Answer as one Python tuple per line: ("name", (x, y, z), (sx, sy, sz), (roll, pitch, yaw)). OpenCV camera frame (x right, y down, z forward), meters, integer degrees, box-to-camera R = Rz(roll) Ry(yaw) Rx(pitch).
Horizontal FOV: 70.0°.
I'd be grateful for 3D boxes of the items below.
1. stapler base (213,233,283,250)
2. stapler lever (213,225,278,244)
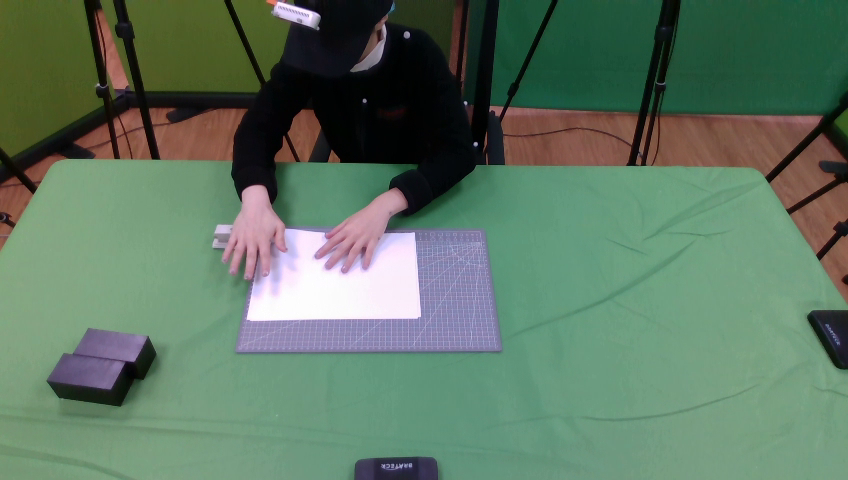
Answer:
("stapler base", (-0.340, -0.005, 1.171), (0.130, 0.024, 0.041), (1, 43, 0))
("stapler lever", (-0.340, -0.013, 1.161), (0.118, 0.040, 0.026), (10, 43, -9))
